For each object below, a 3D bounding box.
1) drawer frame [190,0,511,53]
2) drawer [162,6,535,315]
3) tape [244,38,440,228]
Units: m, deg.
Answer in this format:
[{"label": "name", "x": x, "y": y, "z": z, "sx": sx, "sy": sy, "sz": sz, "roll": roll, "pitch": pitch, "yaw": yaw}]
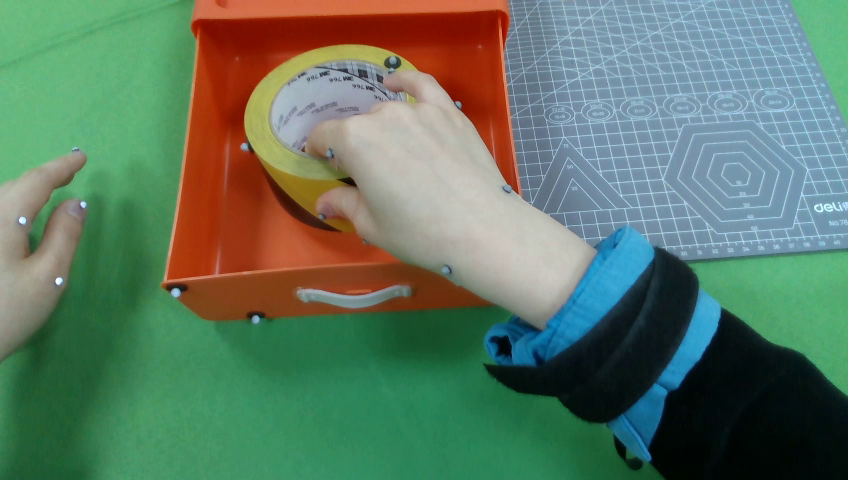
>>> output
[{"label": "drawer frame", "x": -0.048, "y": -0.216, "z": 0.448, "sx": 0.202, "sy": 0.083, "sz": 0.211, "roll": -3, "pitch": 64, "yaw": 0}, {"label": "drawer", "x": -0.043, "y": -0.063, "z": 0.380, "sx": 0.194, "sy": 0.074, "sz": 0.210, "roll": -3, "pitch": 66, "yaw": 0}, {"label": "tape", "x": -0.048, "y": -0.067, "z": 0.376, "sx": 0.117, "sy": 0.053, "sz": 0.116, "roll": -2, "pitch": 58, "yaw": 3}]
